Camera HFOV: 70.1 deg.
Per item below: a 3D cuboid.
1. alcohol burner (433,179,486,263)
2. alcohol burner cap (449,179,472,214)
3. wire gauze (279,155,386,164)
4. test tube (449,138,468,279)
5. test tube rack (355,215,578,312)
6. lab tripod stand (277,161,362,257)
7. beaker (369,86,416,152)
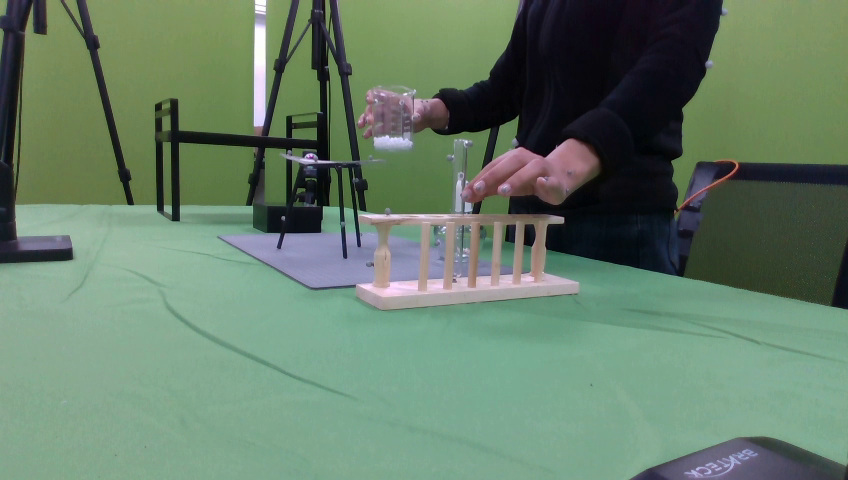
[{"bbox_3d":[0.051,-0.028,0.862,0.078,0.119,0.078,1,7,0],"label":"alcohol burner"},{"bbox_3d":[0.052,-0.063,0.858,0.034,0.048,0.034,2,13,0],"label":"alcohol burner cap"},{"bbox_3d":[-0.134,-0.114,0.875,0.122,0.011,0.124,-1,8,-30],"label":"wire gauze"},{"bbox_3d":[0.035,-0.033,0.645,0.017,0.150,0.017,3,4,0],"label":"test tube"},{"bbox_3d":[0.053,0.018,0.640,0.243,0.085,0.066,-1,8,-29],"label":"test tube rack"},{"bbox_3d":[-0.142,-0.049,0.884,0.148,0.131,0.148,2,9,0],"label":"lab tripod stand"},{"bbox_3d":[-0.049,-0.199,1.002,0.083,0.100,0.074,2,4,31],"label":"beaker"}]
